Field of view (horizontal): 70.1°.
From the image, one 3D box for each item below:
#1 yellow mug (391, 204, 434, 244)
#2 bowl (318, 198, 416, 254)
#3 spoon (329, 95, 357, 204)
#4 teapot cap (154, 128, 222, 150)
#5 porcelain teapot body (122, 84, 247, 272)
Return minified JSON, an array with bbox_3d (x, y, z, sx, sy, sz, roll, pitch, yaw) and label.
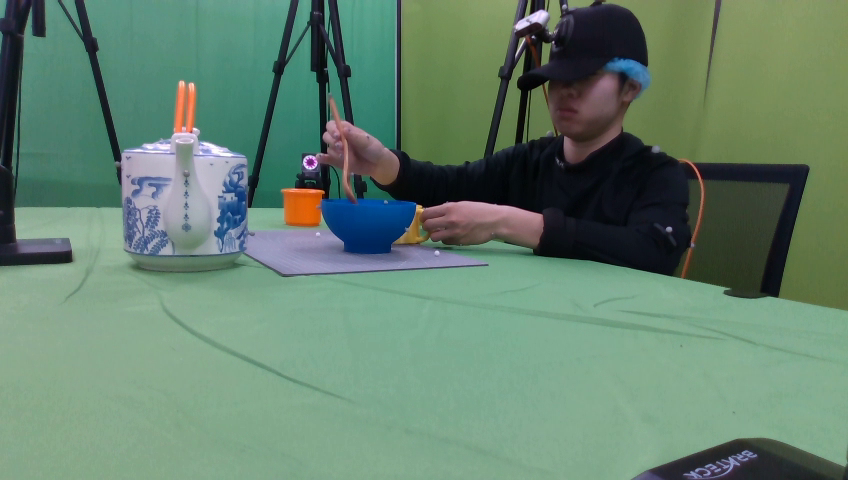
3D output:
[{"bbox_3d":[-0.041,-0.030,1.070,0.130,0.064,0.100,7,8,26],"label":"yellow mug"},{"bbox_3d":[-0.089,-0.022,0.941,0.151,0.077,0.151,2,7,0],"label":"bowl"},{"bbox_3d":[-0.128,-0.143,0.958,0.021,0.193,0.042,-11,-14,4],"label":"spoon"},{"bbox_3d":[-0.294,-0.117,0.754,0.085,0.044,0.085,4,9,0],"label":"teapot cap"},{"bbox_3d":[-0.286,-0.075,0.733,0.146,0.225,0.204,0,8,-24],"label":"porcelain teapot body"}]
